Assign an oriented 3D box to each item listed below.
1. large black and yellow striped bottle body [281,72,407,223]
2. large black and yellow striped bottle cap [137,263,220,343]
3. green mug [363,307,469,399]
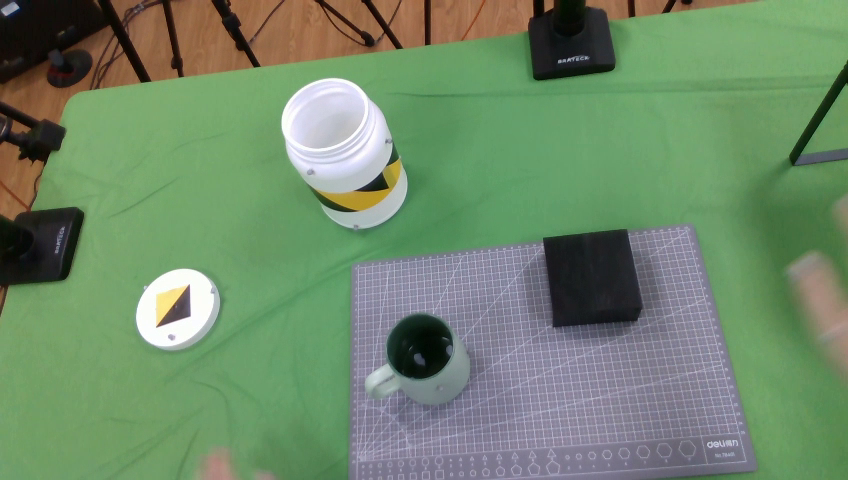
[{"bbox_3d":[-0.103,-0.118,0.797,0.130,0.185,0.129,-4,64,9],"label":"large black and yellow striped bottle body"},{"bbox_3d":[-0.341,0.086,0.840,0.115,0.019,0.114,-4,64,9],"label":"large black and yellow striped bottle cap"},{"bbox_3d":[-0.012,0.140,0.702,0.125,0.106,0.091,-30,64,-4],"label":"green mug"}]
